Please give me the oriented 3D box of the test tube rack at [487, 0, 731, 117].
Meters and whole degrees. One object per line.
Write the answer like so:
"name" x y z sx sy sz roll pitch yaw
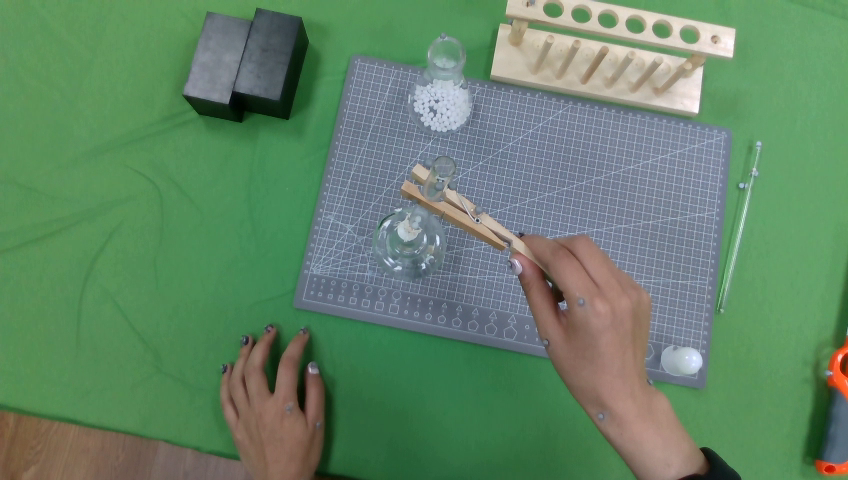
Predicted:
"test tube rack" 0.199 -0.206 0.674 0.242 0.085 0.066 11 79 0

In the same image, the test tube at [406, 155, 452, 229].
"test tube" 0.001 -0.031 0.455 0.017 0.150 0.017 2 78 -8

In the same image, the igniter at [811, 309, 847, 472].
"igniter" 0.465 0.116 0.654 0.057 0.025 0.275 21 79 -8

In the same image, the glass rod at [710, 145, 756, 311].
"glass rod" 0.350 -0.015 0.684 0.008 0.008 0.199 18 82 1

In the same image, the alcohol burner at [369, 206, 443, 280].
"alcohol burner" -0.019 -0.001 0.610 0.078 0.119 0.077 0 77 0

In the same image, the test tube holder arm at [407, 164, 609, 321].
"test tube holder arm" 0.061 0.002 0.442 0.178 0.015 0.013 36 79 0

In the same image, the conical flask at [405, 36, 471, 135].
"conical flask" 0.017 -0.166 0.638 0.075 0.122 0.075 0 79 -2

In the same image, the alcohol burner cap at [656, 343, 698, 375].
"alcohol burner cap" 0.268 0.124 0.635 0.034 0.048 0.033 0 78 -2

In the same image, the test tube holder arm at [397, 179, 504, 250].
"test tube holder arm" 0.020 -0.018 0.440 0.088 0.015 0.010 29 78 -1
